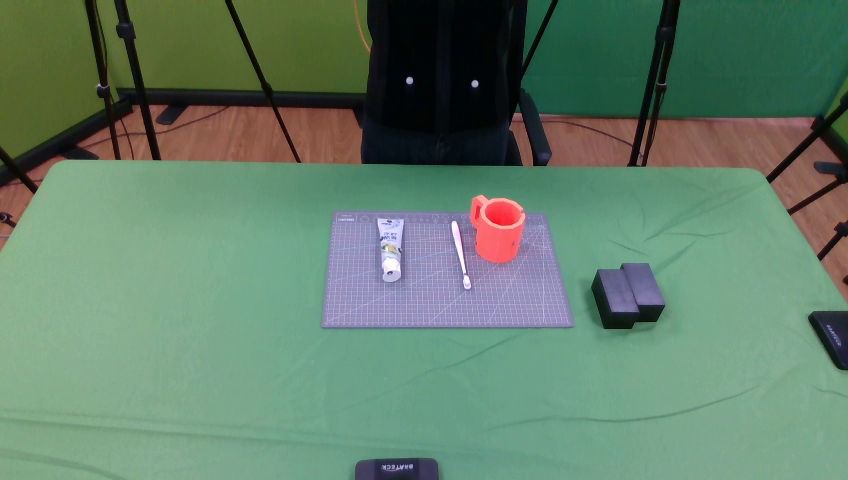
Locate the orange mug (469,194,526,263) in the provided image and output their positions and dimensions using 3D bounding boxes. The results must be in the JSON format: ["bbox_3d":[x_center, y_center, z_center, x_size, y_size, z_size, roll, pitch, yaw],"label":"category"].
[{"bbox_3d":[0.136,-0.030,1.180,0.083,0.101,0.125,-27,58,-26],"label":"orange mug"}]

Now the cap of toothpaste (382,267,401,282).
[{"bbox_3d":[-0.060,0.063,1.119,0.037,0.037,0.011,-9,50,-12],"label":"cap of toothpaste"}]

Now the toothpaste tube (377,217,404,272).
[{"bbox_3d":[-0.063,0.008,1.179,0.055,0.034,0.164,5,42,-9],"label":"toothpaste tube"}]

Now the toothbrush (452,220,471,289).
[{"bbox_3d":[0.071,0.024,1.180,0.014,0.017,0.180,-13,45,5],"label":"toothbrush"}]
